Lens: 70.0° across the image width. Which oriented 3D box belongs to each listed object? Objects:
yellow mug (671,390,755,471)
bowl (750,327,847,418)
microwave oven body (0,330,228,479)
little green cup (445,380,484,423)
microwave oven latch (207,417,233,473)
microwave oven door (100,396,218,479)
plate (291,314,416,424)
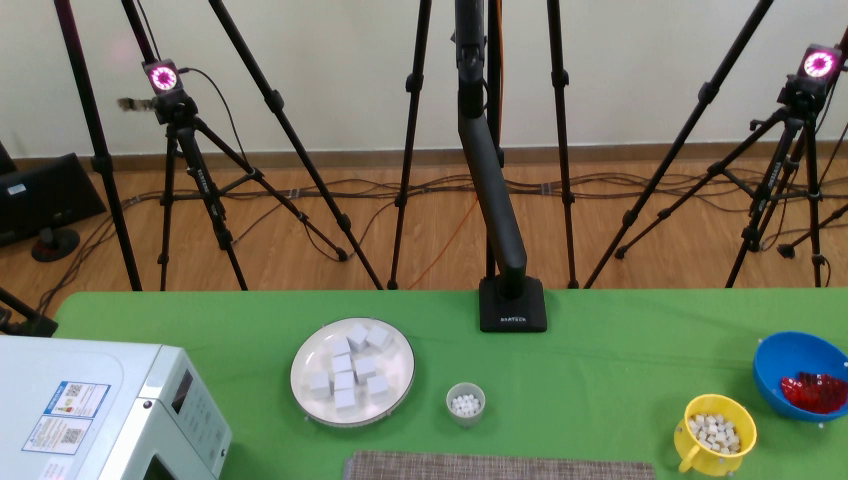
[{"bbox_3d":[0.414,0.289,0.891,0.131,0.064,0.099,-33,53,-23],"label":"yellow mug"},{"bbox_3d":[0.578,0.218,0.941,0.151,0.077,0.150,-2,47,3],"label":"bowl"},{"bbox_3d":[-0.485,0.363,0.741,0.326,0.262,0.437,2,47,6],"label":"microwave oven body"},{"bbox_3d":[0.065,0.259,0.964,0.061,0.039,0.061,-2,46,3],"label":"little green cup"},{"bbox_3d":[-0.314,0.308,0.916,0.030,0.030,0.078,4,47,7],"label":"microwave oven latch"},{"bbox_3d":[-0.344,0.394,0.693,0.039,0.246,0.352,2,46,6],"label":"microwave oven door"},{"bbox_3d":[-0.116,0.217,1.017,0.207,0.039,0.205,-2,46,2],"label":"plate"}]
